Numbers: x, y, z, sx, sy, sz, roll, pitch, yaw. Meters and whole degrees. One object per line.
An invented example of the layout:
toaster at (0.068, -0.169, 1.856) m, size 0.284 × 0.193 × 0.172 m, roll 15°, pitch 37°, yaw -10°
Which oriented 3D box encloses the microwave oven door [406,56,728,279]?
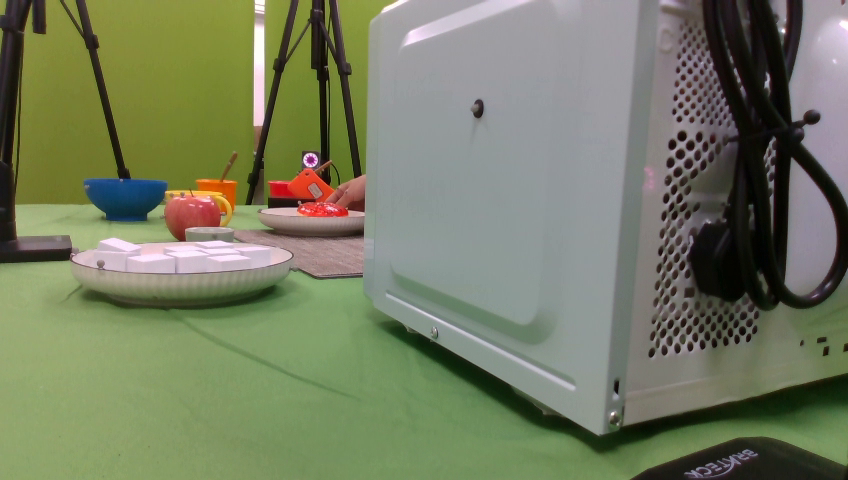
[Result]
microwave oven door at (0.161, -0.084, 0.706) m, size 0.356 × 0.243 × 0.039 m, roll 2°, pitch 8°, yaw 1°

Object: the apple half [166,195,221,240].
apple half at (-0.351, -0.031, 0.935) m, size 0.081 × 0.074 × 0.053 m, roll 1°, pitch 11°, yaw -40°

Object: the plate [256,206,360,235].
plate at (-0.202, -0.037, 1.120) m, size 0.209 × 0.038 × 0.209 m, roll 2°, pitch 8°, yaw 0°

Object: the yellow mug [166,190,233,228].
yellow mug at (-0.415, -0.057, 1.132) m, size 0.130 × 0.064 × 0.100 m, roll 6°, pitch 8°, yaw 16°

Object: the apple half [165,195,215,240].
apple half at (-0.377, -0.038, 0.964) m, size 0.082 × 0.081 × 0.032 m, roll -4°, pitch 15°, yaw -39°

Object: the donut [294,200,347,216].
donut at (-0.193, -0.049, 1.134) m, size 0.099 × 0.048 × 0.099 m, roll 4°, pitch 8°, yaw 0°

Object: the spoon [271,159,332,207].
spoon at (-0.307, -0.142, 1.514) m, size 0.193 × 0.021 × 0.041 m, roll -41°, pitch 5°, yaw 8°

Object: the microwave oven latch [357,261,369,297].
microwave oven latch at (-0.019, 0.033, 0.530) m, size 0.079 × 0.029 × 0.030 m, roll -1°, pitch 7°, yaw -26°

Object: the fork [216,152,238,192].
fork at (-0.455, -0.132, 1.367) m, size 0.028 × 0.018 × 0.207 m, roll -2°, pitch -35°, yaw -37°

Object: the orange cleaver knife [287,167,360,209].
orange cleaver knife at (-0.209, -0.089, 1.383) m, size 0.212 × 0.077 × 0.012 m, roll 31°, pitch 3°, yaw -15°

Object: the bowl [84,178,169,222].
bowl at (-0.584, -0.078, 1.194) m, size 0.151 × 0.077 × 0.151 m, roll 3°, pitch 8°, yaw 0°

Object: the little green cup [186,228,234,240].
little green cup at (-0.284, 0.005, 0.805) m, size 0.061 × 0.038 × 0.061 m, roll 2°, pitch 8°, yaw 0°

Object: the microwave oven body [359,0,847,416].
microwave oven body at (0.211, -0.047, 0.474) m, size 0.444 × 0.260 × 0.324 m, roll -1°, pitch 7°, yaw -28°

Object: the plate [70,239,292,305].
plate at (-0.242, 0.031, 0.618) m, size 0.208 × 0.039 × 0.207 m, roll 2°, pitch 8°, yaw 0°
